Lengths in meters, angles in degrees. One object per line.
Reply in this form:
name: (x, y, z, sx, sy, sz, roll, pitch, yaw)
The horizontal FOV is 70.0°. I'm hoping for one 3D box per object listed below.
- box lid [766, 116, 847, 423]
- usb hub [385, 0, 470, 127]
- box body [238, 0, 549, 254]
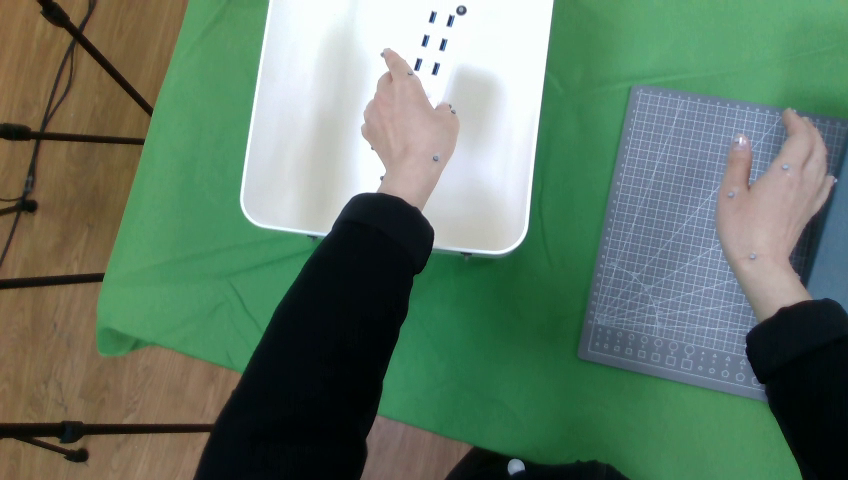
box lid: (0.498, 0.015, 0.558, 0.263, 0.015, 0.372, 13, 100, 9)
usb hub: (0.004, -0.176, 0.593, 0.049, 0.025, 0.125, 16, 83, 9)
box body: (-0.011, -0.173, 0.604, 0.254, 0.161, 0.363, 6, 86, 8)
